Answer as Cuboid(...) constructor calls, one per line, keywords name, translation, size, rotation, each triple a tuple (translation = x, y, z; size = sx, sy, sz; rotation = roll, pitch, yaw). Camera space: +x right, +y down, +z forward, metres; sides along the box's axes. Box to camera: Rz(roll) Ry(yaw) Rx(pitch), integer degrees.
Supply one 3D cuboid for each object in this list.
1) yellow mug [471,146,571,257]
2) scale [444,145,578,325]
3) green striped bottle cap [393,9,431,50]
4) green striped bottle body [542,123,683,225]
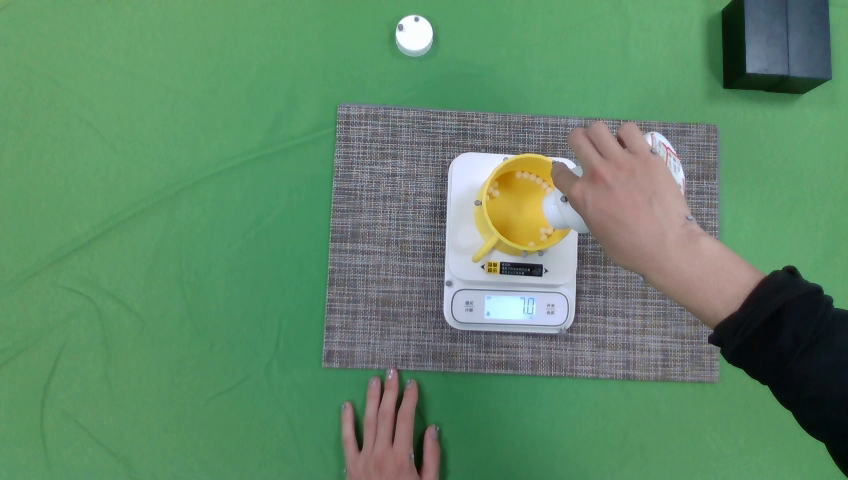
Cuboid(name="yellow mug", translation=(0.095, -0.031, 0.636), size=(0.100, 0.064, 0.131), rotation=(42, 85, 1))
Cuboid(name="scale", translation=(0.099, -0.006, 0.682), size=(0.149, 0.031, 0.200), rotation=(2, 85, -2))
Cuboid(name="green striped bottle cap", translation=(-0.014, -0.247, 0.711), size=(0.044, 0.020, 0.044), rotation=(0, 88, -2))
Cuboid(name="green striped bottle body", translation=(0.167, -0.054, 0.555), size=(0.064, 0.119, 0.062), rotation=(21, 58, -37))
